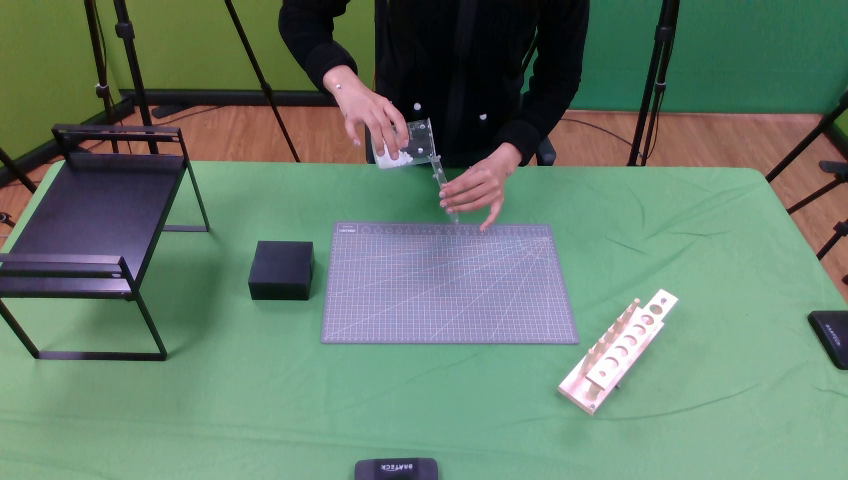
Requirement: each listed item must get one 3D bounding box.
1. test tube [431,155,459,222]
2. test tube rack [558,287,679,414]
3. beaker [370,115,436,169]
[{"bbox_3d":[0.038,-0.088,1.072,0.017,0.151,0.017,-12,43,11],"label":"test tube"},{"bbox_3d":[0.326,0.170,1.009,0.066,0.085,0.242,35,54,26],"label":"test tube rack"},{"bbox_3d":[-0.034,-0.157,0.995,0.100,0.084,0.073,-9,49,3],"label":"beaker"}]
